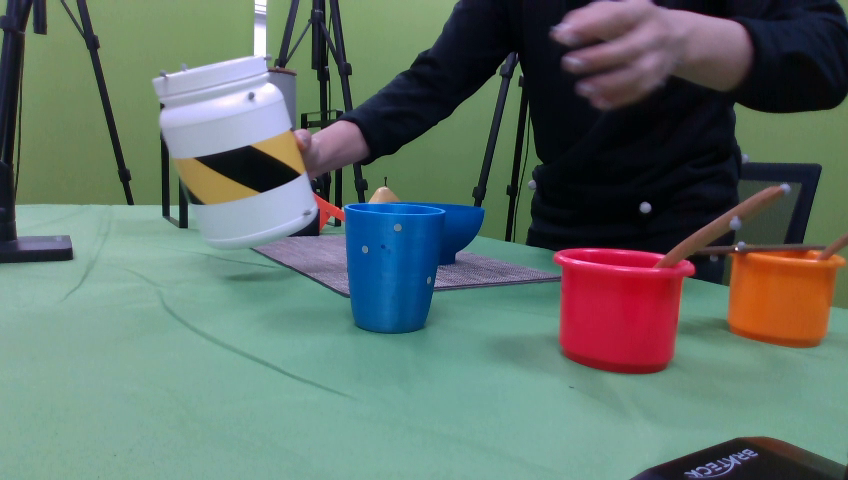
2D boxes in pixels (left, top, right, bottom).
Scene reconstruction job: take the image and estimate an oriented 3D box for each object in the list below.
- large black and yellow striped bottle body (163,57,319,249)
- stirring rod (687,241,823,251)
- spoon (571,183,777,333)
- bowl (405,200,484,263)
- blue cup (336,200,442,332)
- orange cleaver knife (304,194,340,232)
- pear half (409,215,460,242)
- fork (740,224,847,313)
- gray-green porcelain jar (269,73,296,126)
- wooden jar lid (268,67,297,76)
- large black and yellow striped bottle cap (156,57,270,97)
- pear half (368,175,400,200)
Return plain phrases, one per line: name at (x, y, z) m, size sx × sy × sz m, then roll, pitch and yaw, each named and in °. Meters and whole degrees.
large black and yellow striped bottle body at (-0.203, -0.097, 0.668) m, size 0.131 × 0.184 × 0.130 m, roll -12°, pitch 21°, yaw 5°
stirring rod at (0.290, 0.005, 0.525) m, size 0.177 × 0.006 × 0.014 m, roll -1°, pitch 5°, yaw -26°
spoon at (0.161, 0.020, 0.413) m, size 0.042 × 0.021 × 0.193 m, roll 1°, pitch -37°, yaw -24°
bowl at (0.008, -0.012, 0.842) m, size 0.151 × 0.077 × 0.151 m, roll 2°, pitch 7°, yaw 0°
blue cup at (-0.029, 0.020, 0.508) m, size 0.093 × 0.100 × 0.092 m, roll 2°, pitch 10°, yaw 0°
orange cleaver knife at (-0.201, -0.056, 1.136) m, size 0.212 × 0.077 × 0.012 m, roll 31°, pitch -4°, yaw -31°
pear half at (0.011, -0.019, 0.848) m, size 0.070 × 0.031 × 0.088 m, roll 4°, pitch 11°, yaw 33°
fork at (0.323, 0.013, 0.484) m, size 0.028 × 0.018 × 0.207 m, roll 9°, pitch -38°, yaw -5°
gray-green porcelain jar at (-0.322, -0.279, 1.263) m, size 0.106 × 0.126 × 0.106 m, roll 3°, pitch 8°, yaw 0°
wooden jar lid at (-0.319, -0.342, 1.254) m, size 0.108 × 0.020 × 0.108 m, roll 3°, pitch 8°, yaw 0°
large black and yellow striped bottle cap at (-0.222, -0.173, 0.639) m, size 0.115 × 0.019 × 0.115 m, roll -10°, pitch 21°, yaw 4°
pear half at (-0.064, -0.061, 1.077) m, size 0.055 × 0.110 × 0.077 m, roll 9°, pitch 14°, yaw 39°
